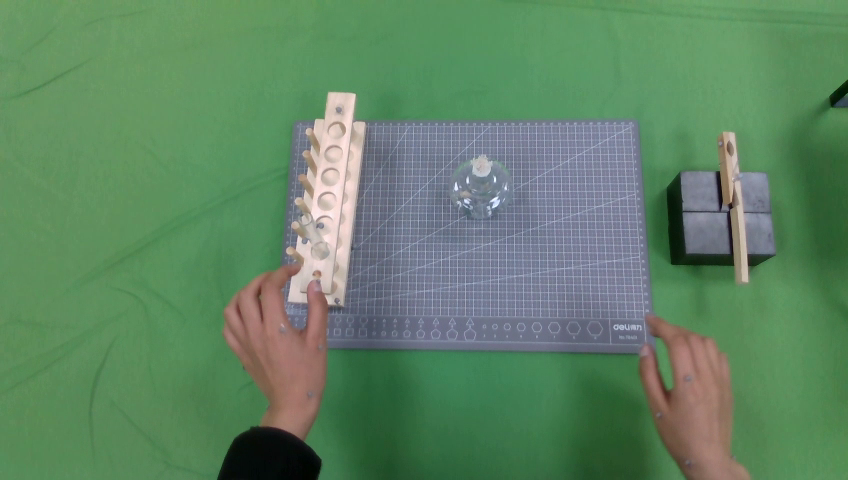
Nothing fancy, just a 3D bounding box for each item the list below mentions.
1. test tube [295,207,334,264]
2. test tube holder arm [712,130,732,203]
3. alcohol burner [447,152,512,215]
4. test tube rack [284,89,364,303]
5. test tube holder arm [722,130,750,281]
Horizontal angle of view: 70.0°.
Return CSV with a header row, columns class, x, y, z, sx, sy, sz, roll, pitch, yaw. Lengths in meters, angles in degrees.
class,x,y,z,sx,sy,sz,roll,pitch,yaw
test tube,-0.117,0.001,0.660,0.017,0.151,0.017,0,70,1
test tube holder arm,0.346,-0.085,0.701,0.010,0.015,0.087,0,75,-2
alcohol burner,0.065,-0.072,0.709,0.078,0.120,0.077,-1,76,4
test tube rack,-0.124,-0.053,0.726,0.067,0.085,0.241,4,75,4
test tube holder arm,0.353,-0.042,0.690,0.013,0.015,0.177,-1,75,-2
